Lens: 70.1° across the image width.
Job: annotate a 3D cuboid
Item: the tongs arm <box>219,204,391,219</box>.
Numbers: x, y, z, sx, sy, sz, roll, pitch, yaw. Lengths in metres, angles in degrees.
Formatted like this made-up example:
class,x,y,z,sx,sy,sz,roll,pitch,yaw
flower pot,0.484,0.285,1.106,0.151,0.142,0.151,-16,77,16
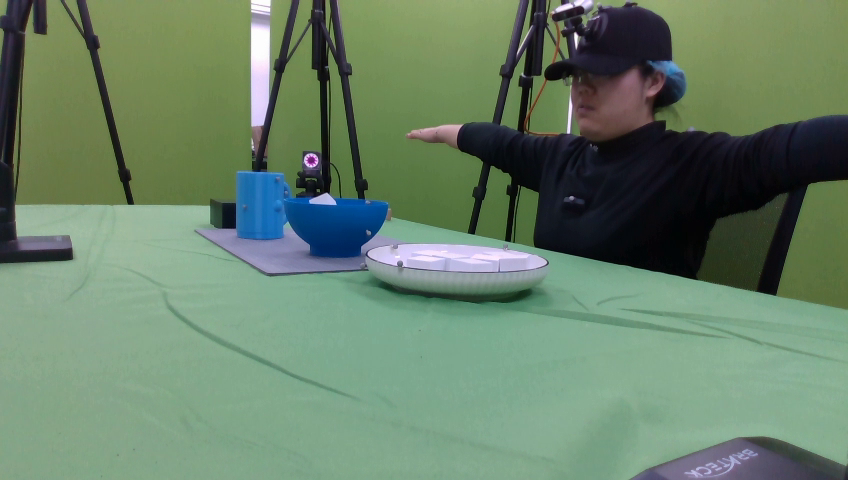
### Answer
class,x,y,z,sx,sy,sz,roll,pitch,yaw
tongs arm,-0.258,-0.065,1.367,0.386,0.026,0.050,1,3,-17

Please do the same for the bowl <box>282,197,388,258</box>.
class,x,y,z,sx,sy,sz,roll,pitch,yaw
bowl,-0.127,-0.018,0.868,0.151,0.077,0.151,3,7,0

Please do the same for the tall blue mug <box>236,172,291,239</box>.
class,x,y,z,sx,sy,sz,roll,pitch,yaw
tall blue mug,-0.273,-0.061,1.026,0.078,0.108,0.107,1,7,-1

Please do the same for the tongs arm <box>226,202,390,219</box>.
class,x,y,z,sx,sy,sz,roll,pitch,yaw
tongs arm,-0.275,-0.071,1.446,0.388,0.027,0.028,2,-1,-4

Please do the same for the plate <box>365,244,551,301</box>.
class,x,y,z,sx,sy,sz,roll,pitch,yaw
plate,0.038,0.035,0.685,0.209,0.038,0.209,2,7,0
